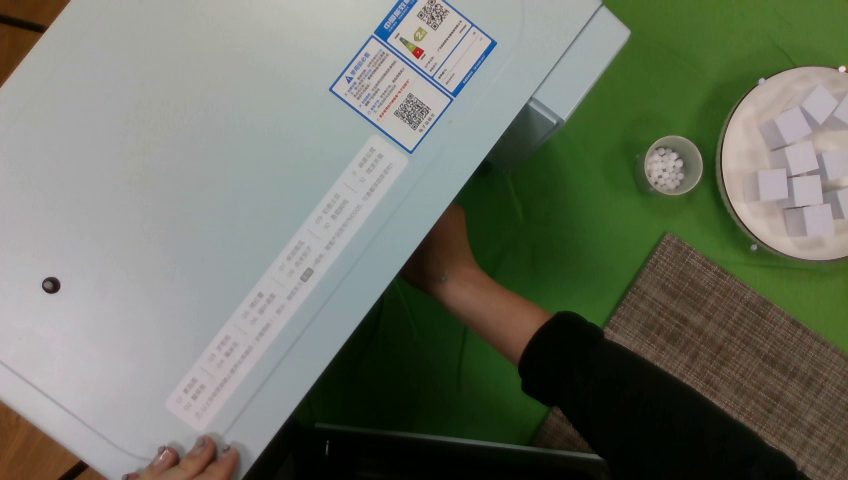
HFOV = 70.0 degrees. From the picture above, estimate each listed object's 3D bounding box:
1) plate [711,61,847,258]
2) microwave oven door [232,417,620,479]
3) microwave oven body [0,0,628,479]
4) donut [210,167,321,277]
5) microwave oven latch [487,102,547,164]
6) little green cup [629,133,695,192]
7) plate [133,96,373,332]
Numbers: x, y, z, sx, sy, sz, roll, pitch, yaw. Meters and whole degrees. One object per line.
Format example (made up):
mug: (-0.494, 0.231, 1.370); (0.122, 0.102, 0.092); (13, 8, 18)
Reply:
plate: (0.404, -0.083, 0.648); (0.208, 0.039, 0.207); (0, 89, -3)
microwave oven door: (0.029, 0.213, 0.502); (0.356, 0.244, 0.039); (7, 88, -2)
microwave oven body: (-0.127, -0.066, 0.503); (0.326, 0.260, 0.441); (37, 88, -2)
donut: (-0.141, -0.016, 0.543); (0.099, 0.048, 0.099); (0, 89, -5)
microwave oven latch: (0.094, -0.116, 0.612); (0.030, 0.029, 0.079); (41, 88, -2)
little green cup: (0.247, -0.079, 0.637); (0.061, 0.038, 0.061); (0, 90, -1)
plate: (-0.150, -0.022, 0.548); (0.209, 0.038, 0.209); (0, 93, -3)
